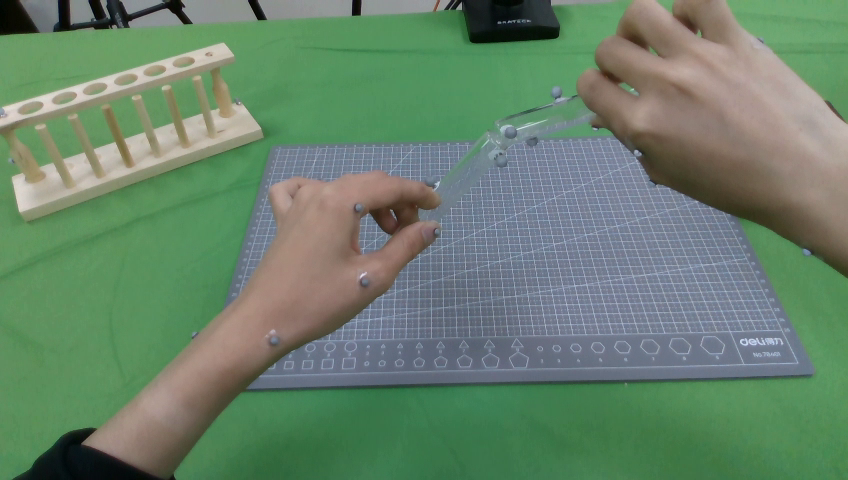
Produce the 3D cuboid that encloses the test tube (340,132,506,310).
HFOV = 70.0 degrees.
[{"bbox_3d":[-0.006,-0.006,0.361,0.017,0.151,0.017,33,29,-20],"label":"test tube"}]

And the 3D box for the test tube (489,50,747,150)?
[{"bbox_3d":[0.108,-0.078,0.332,0.150,0.017,0.017,-17,46,-5],"label":"test tube"}]

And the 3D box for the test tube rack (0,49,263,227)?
[{"bbox_3d":[-0.298,-0.108,0.614,0.242,0.086,0.066,-25,49,-21],"label":"test tube rack"}]
